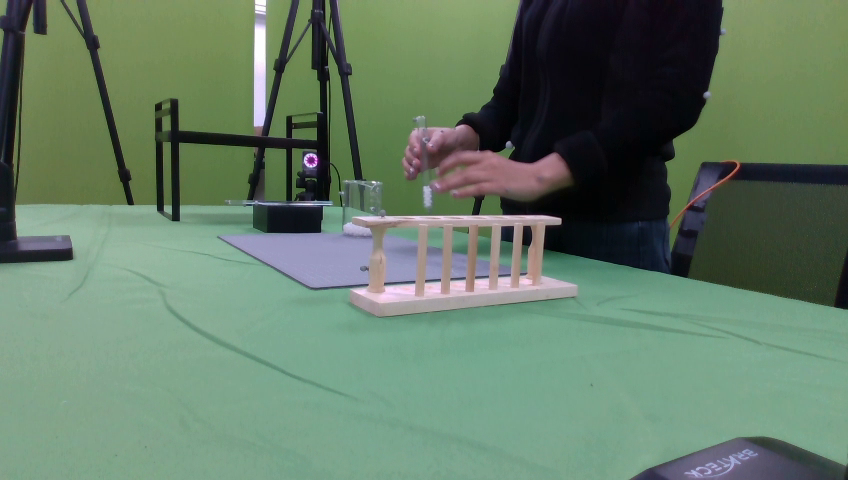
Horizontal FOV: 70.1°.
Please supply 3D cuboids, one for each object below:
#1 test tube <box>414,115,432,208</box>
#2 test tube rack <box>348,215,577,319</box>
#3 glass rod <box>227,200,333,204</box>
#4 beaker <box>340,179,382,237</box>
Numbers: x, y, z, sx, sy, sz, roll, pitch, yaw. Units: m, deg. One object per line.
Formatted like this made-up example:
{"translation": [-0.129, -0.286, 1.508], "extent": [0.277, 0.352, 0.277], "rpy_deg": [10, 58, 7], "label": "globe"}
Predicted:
{"translation": [-0.001, -0.125, 0.971], "extent": [0.017, 0.150, 0.017], "rpy_deg": [-5, 2, 0], "label": "test tube"}
{"translation": [0.048, 0.021, 0.619], "extent": [0.244, 0.085, 0.066], "rpy_deg": [-2, 9, -31], "label": "test tube rack"}
{"translation": [-0.268, -0.071, 1.143], "extent": [0.201, 0.008, 0.008], "rpy_deg": [-1, 8, -29], "label": "glass rod"}
{"translation": [-0.113, -0.058, 1.094], "extent": [0.074, 0.100, 0.083], "rpy_deg": [-2, 10, -29], "label": "beaker"}
